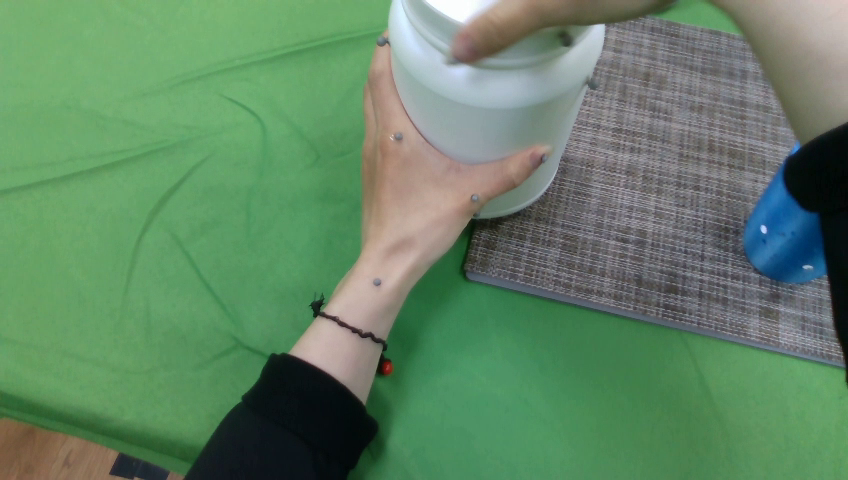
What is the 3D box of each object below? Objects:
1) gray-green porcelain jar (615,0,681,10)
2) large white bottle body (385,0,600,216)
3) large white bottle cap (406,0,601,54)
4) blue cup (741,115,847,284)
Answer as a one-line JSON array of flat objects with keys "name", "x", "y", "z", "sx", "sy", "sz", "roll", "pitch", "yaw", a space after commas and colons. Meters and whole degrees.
[{"name": "gray-green porcelain jar", "x": 0.212, "y": -0.283, "z": 0.541, "sx": 0.106, "sy": 0.127, "sz": 0.105, "roll": 1, "pitch": 63, "yaw": -1}, {"name": "large white bottle body", "x": 0.041, "y": -0.112, "z": 0.407, "sx": 0.130, "sy": 0.186, "sz": 0.129, "roll": 0, "pitch": 63, "yaw": 0}, {"name": "large white bottle cap", "x": 0.043, "y": -0.151, "z": 0.330, "sx": 0.115, "sy": 0.018, "sz": 0.114, "roll": 1, "pitch": 65, "yaw": -1}, {"name": "blue cup", "x": 0.272, "y": -0.016, "z": 0.419, "sx": 0.092, "sy": 0.101, "sz": 0.092, "roll": 0, "pitch": 62, "yaw": 0}]
